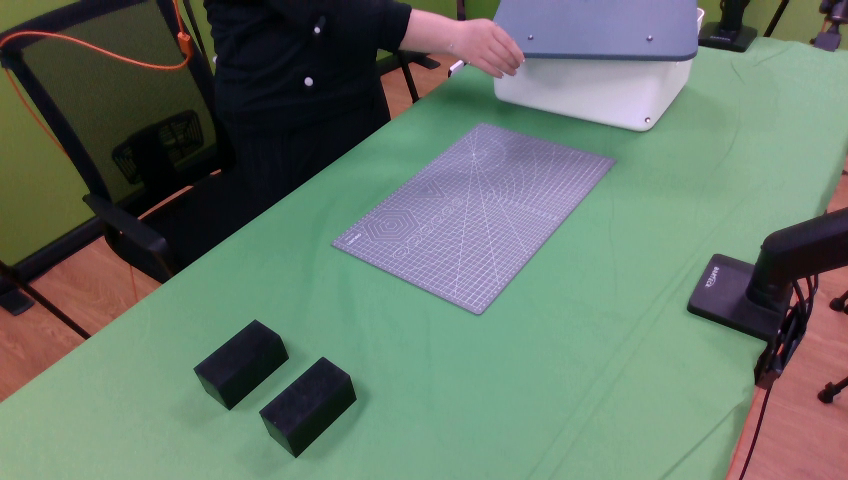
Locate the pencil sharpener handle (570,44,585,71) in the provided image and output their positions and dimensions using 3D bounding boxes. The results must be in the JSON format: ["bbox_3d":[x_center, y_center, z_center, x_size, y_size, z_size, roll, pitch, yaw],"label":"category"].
[{"bbox_3d":[0.323,-0.387,1.286,0.030,0.068,0.036,17,64,30],"label":"pencil sharpener handle"}]

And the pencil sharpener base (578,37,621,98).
[{"bbox_3d":[0.364,-0.361,1.267,0.076,0.107,0.061,17,47,30],"label":"pencil sharpener base"}]

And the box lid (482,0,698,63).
[{"bbox_3d":[0.311,-0.405,1.123,0.370,0.015,0.263,6,49,16],"label":"box lid"}]

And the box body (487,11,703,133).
[{"bbox_3d":[0.346,-0.374,1.251,0.361,0.161,0.255,20,48,29],"label":"box body"}]
